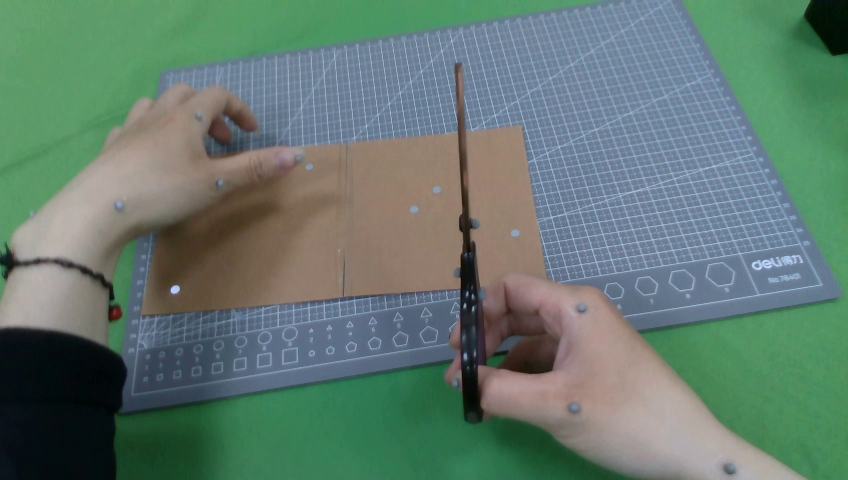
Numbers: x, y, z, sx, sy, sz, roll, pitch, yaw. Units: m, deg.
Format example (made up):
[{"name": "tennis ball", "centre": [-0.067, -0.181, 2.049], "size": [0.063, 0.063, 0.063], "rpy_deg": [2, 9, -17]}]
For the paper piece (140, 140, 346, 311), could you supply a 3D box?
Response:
[{"name": "paper piece", "centre": [-0.123, -0.016, 0.430], "size": [0.138, 0.009, 0.134], "rpy_deg": [-4, 56, 4]}]

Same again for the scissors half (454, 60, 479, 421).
[{"name": "scissors half", "centre": [0.021, 0.006, 0.287], "size": [0.013, 0.040, 0.175], "rpy_deg": [1, 102, 3]}]

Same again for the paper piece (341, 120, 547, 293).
[{"name": "paper piece", "centre": [0.010, -0.028, 0.424], "size": [0.136, 0.004, 0.134], "rpy_deg": [-4, 59, 3]}]

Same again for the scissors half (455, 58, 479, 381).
[{"name": "scissors half", "centre": [0.023, -0.001, 0.305], "size": [0.013, 0.176, 0.040], "rpy_deg": [3, 28, 8]}]
